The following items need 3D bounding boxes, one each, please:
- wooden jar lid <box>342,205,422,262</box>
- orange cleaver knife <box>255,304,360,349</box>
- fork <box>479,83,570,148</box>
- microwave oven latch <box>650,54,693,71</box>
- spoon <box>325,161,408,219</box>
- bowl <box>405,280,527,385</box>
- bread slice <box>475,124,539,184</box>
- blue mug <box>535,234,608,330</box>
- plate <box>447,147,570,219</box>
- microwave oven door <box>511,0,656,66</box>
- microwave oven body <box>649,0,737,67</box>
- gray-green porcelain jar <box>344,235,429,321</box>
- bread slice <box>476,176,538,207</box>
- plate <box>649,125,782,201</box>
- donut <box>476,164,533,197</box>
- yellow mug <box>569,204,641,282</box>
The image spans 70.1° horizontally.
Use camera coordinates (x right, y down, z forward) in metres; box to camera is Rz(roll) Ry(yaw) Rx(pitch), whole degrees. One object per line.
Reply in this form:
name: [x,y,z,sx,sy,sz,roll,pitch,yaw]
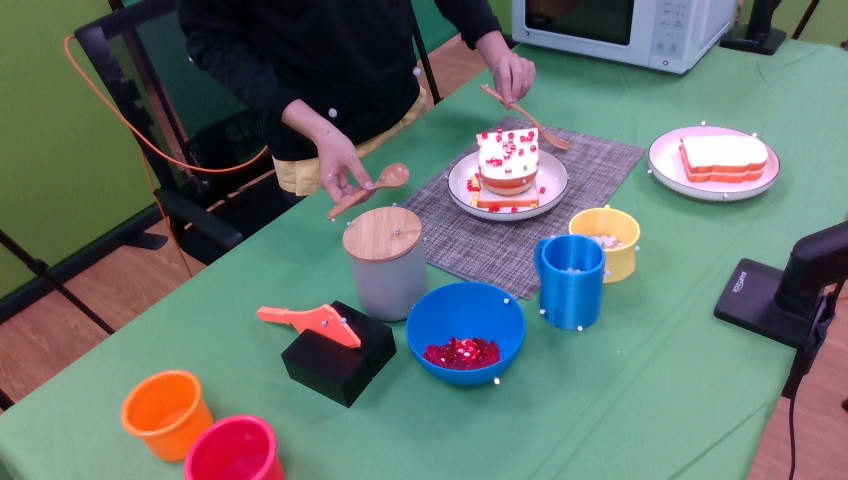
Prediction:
wooden jar lid: [-0.055,-0.006,0.808,0.108,0.021,0.108,-6,41,6]
orange cleaver knife: [-0.161,0.115,0.813,0.210,0.077,0.012,-4,32,47]
fork: [0.188,-0.230,1.121,0.208,0.018,0.028,34,46,-13]
microwave oven latch: [0.531,-0.386,1.301,0.078,0.029,0.030,26,51,33]
spoon: [-0.090,-0.081,0.954,0.041,0.021,0.194,45,43,8]
bowl: [0.055,0.131,0.767,0.151,0.077,0.150,-4,40,4]
bread slice: [0.143,-0.144,1.009,0.107,0.018,0.133,-7,46,8]
blue mug: [0.191,0.048,0.824,0.082,0.106,0.115,-26,44,-21]
plate: [0.145,-0.098,1.046,0.209,0.038,0.208,-4,40,4]
microwave oven door: [0.351,-0.539,1.349,0.353,0.245,0.039,24,50,31]
microwave oven body: [0.475,-0.602,1.411,0.438,0.261,0.327,23,50,32]
gray-green porcelain jar: [-0.049,0.042,0.849,0.106,0.127,0.105,-4,41,4]
bread slice: [0.144,-0.104,1.058,0.105,0.019,0.131,0,43,5]
plate: [0.493,-0.128,1.036,0.207,0.039,0.206,-4,41,4]
donut: [0.138,-0.116,1.025,0.099,0.048,0.098,-8,55,12]
yellow mug: [0.268,-0.005,0.904,0.099,0.064,0.130,7,41,15]
